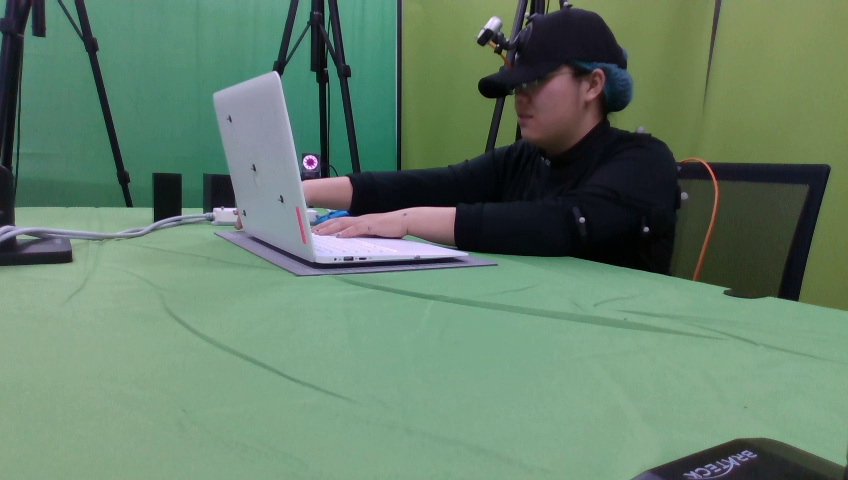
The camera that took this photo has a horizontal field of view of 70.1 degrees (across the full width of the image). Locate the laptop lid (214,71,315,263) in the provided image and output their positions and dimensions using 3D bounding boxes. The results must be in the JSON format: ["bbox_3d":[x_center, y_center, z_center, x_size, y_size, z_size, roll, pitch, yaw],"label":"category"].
[{"bbox_3d":[-0.240,-0.104,0.866,0.013,0.241,0.355,-16,16,-28],"label":"laptop lid"}]

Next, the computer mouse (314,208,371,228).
[{"bbox_3d":[-0.173,-0.047,1.285,0.118,0.041,0.062,-7,12,-29],"label":"computer mouse"}]

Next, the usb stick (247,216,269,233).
[{"bbox_3d":[-0.293,-0.027,1.075,0.021,0.027,0.059,0,10,-40],"label":"usb stick"}]

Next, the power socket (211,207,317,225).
[{"bbox_3d":[-0.335,-0.051,1.282,0.228,0.032,0.072,-1,9,-28],"label":"power socket"}]

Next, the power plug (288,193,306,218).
[{"bbox_3d":[-0.282,-0.076,1.340,0.035,0.052,0.072,4,5,-18],"label":"power plug"}]

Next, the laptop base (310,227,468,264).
[{"bbox_3d":[-0.122,0.007,0.954,0.237,0.023,0.352,3,6,-31],"label":"laptop base"}]
